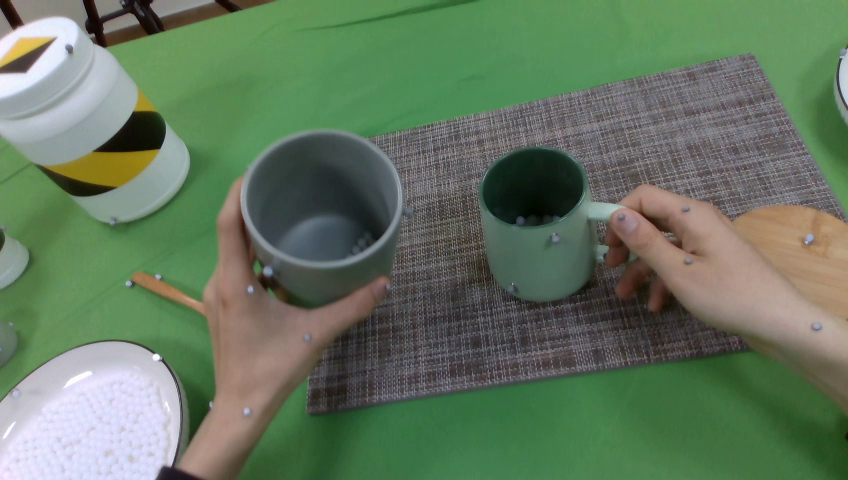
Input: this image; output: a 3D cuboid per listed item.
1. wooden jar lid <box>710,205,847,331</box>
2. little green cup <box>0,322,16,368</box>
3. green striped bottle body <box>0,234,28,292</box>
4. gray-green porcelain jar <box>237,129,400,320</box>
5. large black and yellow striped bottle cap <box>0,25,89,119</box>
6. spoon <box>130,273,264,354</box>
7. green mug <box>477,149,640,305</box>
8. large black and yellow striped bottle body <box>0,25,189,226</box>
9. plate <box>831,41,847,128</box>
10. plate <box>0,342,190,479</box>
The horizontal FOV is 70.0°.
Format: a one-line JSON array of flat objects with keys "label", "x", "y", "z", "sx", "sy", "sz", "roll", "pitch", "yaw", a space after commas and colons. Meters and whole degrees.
[{"label": "wooden jar lid", "x": 0.274, "y": 0.022, "z": 0.458, "sx": 0.108, "sy": 0.021, "sz": 0.107, "roll": -9, "pitch": 54, "yaw": 13}, {"label": "little green cup", "x": -0.443, "y": 0.105, "z": 0.601, "sx": 0.061, "sy": 0.039, "sz": 0.061, "roll": -8, "pitch": 53, "yaw": 11}, {"label": "green striped bottle body", "x": -0.487, "y": 0.002, "z": 0.634, "sx": 0.063, "sy": 0.120, "sz": 0.062, "roll": -8, "pitch": 54, "yaw": 12}, {"label": "gray-green porcelain jar", "x": -0.075, "y": -0.003, "z": 0.450, "sx": 0.106, "sy": 0.127, "sz": 0.105, "roll": 3, "pitch": 65, "yaw": -7}, {"label": "large black and yellow striped bottle cap", "x": -0.373, "y": -0.160, "z": 0.568, "sx": 0.115, "sy": 0.019, "sz": 0.114, "roll": -8, "pitch": 53, "yaw": 11}, {"label": "spoon", "x": -0.221, "y": 0.061, "z": 0.577, "sx": 0.192, "sy": 0.022, "sz": 0.041, "roll": 19, "pitch": 81, "yaw": 26}, {"label": "green mug", "x": 0.104, "y": -0.006, "z": 0.474, "sx": 0.125, "sy": 0.106, "sz": 0.092, "roll": 8, "pitch": 58, "yaw": 21}, {"label": "large black and yellow striped bottle body", "x": -0.352, "y": -0.115, "z": 0.636, "sx": 0.130, "sy": 0.186, "sz": 0.129, "roll": -8, "pitch": 55, "yaw": 11}, {"label": "plate", "x": 0.452, "y": -0.119, "z": 0.498, "sx": 0.207, "sy": 0.039, "sz": 0.205, "roll": -8, "pitch": 54, "yaw": 11}, {"label": "plate", "x": -0.286, "y": 0.185, "z": 0.500, "sx": 0.209, "sy": 0.038, "sz": 0.207, "roll": -8, "pitch": 54, "yaw": 11}]
